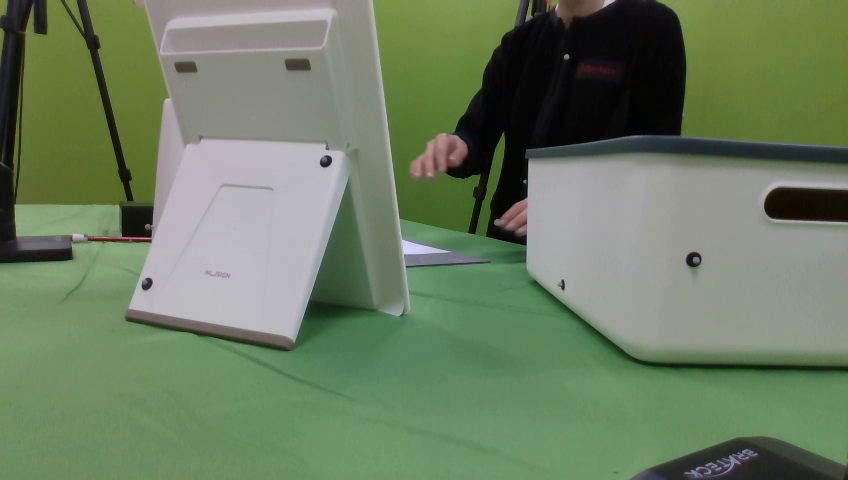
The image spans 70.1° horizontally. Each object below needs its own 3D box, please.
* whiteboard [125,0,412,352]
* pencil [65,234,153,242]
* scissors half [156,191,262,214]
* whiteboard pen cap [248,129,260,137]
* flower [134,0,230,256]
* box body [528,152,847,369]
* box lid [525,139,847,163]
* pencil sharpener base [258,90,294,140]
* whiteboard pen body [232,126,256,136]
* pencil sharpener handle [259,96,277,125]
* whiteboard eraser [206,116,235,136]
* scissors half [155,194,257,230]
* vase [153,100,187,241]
[{"bbox_3d":[-0.151,-0.049,0.472,0.216,0.305,0.144,6,27,24],"label":"whiteboard"},{"bbox_3d":[-0.429,-0.001,0.911,0.195,0.012,0.012,1,7,-19],"label":"pencil"},{"bbox_3d":[-0.371,-0.069,1.051,0.176,0.040,0.013,2,25,-24],"label":"scissors half"},{"bbox_3d":[-0.373,-0.235,1.326,0.018,0.018,0.033,-3,12,-35],"label":"whiteboard pen cap"},{"bbox_3d":[-0.282,-0.146,0.713,0.038,0.362,0.044,-23,23,-30],"label":"flower"},{"bbox_3d":[0.258,-0.005,0.591,0.254,0.160,0.363,2,7,-4],"label":"box body"},{"bbox_3d":[0.261,-0.078,0.580,0.264,0.015,0.371,2,7,-4],"label":"box lid"},{"bbox_3d":[-0.341,-0.285,1.388,0.062,0.107,0.076,-3,9,-36],"label":"pencil sharpener base"},{"bbox_3d":[-0.407,-0.247,1.372,0.017,0.017,0.140,-3,13,-35],"label":"whiteboard pen body"},{"bbox_3d":[-0.373,-0.304,1.425,0.036,0.067,0.030,14,-1,-37],"label":"pencil sharpener handle"},{"bbox_3d":[-0.449,-0.251,1.335,0.056,0.042,0.112,1,7,-22],"label":"whiteboard eraser"},{"bbox_3d":[-0.378,-0.051,1.058,0.176,0.040,0.012,20,22,-31],"label":"scissors half"},{"bbox_3d":[-0.278,-0.066,0.736,0.098,0.200,0.098,2,9,0],"label":"vase"}]
